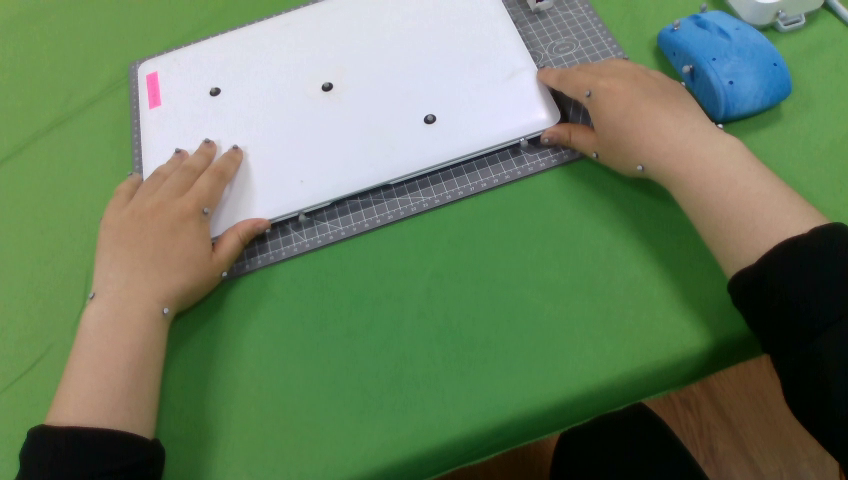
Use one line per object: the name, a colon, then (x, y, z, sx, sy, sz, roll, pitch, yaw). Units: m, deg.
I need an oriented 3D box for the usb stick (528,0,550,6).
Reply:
usb stick: (0.102, -0.253, 0.577, 0.021, 0.027, 0.058, -18, 56, 3)

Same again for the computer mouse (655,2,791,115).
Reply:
computer mouse: (0.240, -0.155, 0.492, 0.063, 0.041, 0.116, -20, 55, 2)

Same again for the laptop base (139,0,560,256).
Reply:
laptop base: (-0.083, -0.133, 0.552, 0.354, 0.023, 0.233, -19, 62, 0)

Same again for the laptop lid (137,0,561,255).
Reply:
laptop lid: (-0.085, -0.137, 0.540, 0.357, 0.013, 0.239, -18, 61, 1)

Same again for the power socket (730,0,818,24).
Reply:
power socket: (0.286, -0.286, 0.560, 0.072, 0.033, 0.224, -17, 59, 2)
